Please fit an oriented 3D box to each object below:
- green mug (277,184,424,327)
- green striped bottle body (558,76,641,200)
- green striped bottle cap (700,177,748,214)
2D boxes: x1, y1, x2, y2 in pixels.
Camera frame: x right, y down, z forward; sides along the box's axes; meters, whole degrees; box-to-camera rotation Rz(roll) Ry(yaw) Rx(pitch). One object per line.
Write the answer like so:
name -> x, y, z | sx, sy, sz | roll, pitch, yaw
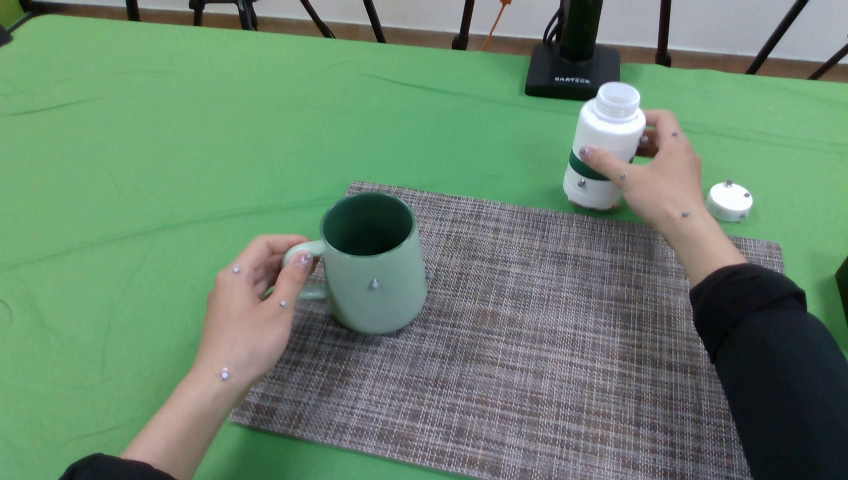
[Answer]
green mug -> -0.064, 0.018, 0.526 | 0.125, 0.106, 0.091 | -11, 48, -7
green striped bottle body -> 0.176, -0.103, 0.607 | 0.063, 0.120, 0.062 | 1, 47, -1
green striped bottle cap -> 0.316, -0.047, 0.638 | 0.044, 0.020, 0.044 | 0, 44, 0
